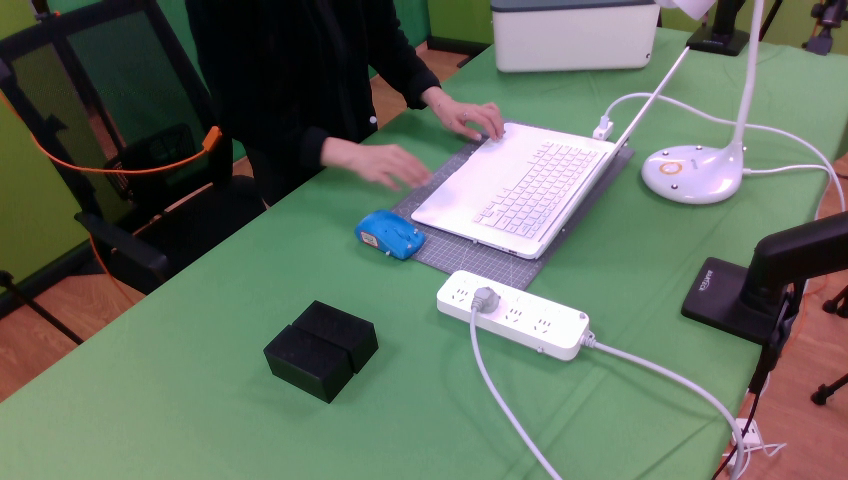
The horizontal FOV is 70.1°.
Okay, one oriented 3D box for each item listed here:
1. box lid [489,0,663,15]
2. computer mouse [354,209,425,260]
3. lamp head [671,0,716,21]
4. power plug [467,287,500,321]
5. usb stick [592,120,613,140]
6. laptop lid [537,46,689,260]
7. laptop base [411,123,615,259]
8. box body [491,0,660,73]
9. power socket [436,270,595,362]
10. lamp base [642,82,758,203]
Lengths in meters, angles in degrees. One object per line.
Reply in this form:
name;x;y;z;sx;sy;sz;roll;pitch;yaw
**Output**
box lid;0.341;-0.576;1.380;0.371;0.015;0.262;0;41;10
computer mouse;-0.057;-0.012;0.982;0.116;0.041;0.063;27;49;29
lamp head;0.375;-0.373;0.807;0.122;0.113;0.112;-40;27;32
power plug;0.073;0.092;0.814;0.035;0.053;0.073;29;54;34
usb stick;0.336;-0.201;1.146;0.021;0.027;0.059;26;53;27
laptop lid;0.293;-0.136;0.927;0.013;0.241;0.357;35;51;10
laptop base;0.168;-0.101;1.073;0.234;0.023;0.355;17;46;30
box body;0.347;-0.521;1.429;0.363;0.161;0.253;1;41;9
power socket;0.118;0.101;0.832;0.225;0.033;0.072;19;48;27
lamp base;0.464;-0.174;0.992;0.179;0.181;0.159;-5;41;-1
